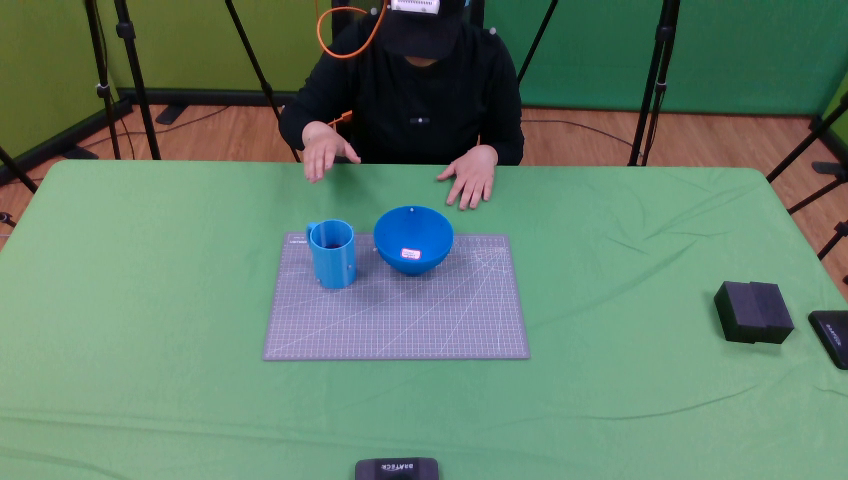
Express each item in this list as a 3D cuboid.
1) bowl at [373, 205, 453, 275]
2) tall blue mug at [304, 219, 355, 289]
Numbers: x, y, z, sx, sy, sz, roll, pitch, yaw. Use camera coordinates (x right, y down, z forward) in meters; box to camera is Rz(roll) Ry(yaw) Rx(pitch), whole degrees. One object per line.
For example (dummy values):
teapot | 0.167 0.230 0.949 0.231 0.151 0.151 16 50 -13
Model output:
bowl | -0.022 0.013 1.143 0.151 0.077 0.150 2 46 -2
tall blue mug | -0.180 0.023 1.099 0.107 0.108 0.077 15 48 10
